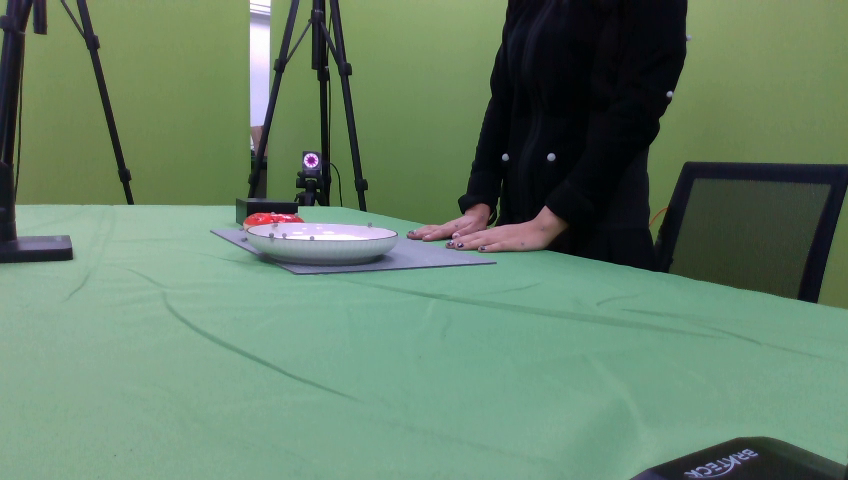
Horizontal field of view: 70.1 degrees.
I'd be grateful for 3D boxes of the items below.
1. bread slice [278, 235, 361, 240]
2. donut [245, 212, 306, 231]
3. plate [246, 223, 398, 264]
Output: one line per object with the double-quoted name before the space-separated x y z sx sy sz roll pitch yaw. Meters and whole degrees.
"bread slice" -0.139 0.007 0.839 0.132 0.019 0.104 -2 8 -35
"donut" -0.244 -0.023 0.997 0.099 0.048 0.099 2 5 0
"plate" -0.140 0.004 0.847 0.209 0.038 0.209 2 7 0
